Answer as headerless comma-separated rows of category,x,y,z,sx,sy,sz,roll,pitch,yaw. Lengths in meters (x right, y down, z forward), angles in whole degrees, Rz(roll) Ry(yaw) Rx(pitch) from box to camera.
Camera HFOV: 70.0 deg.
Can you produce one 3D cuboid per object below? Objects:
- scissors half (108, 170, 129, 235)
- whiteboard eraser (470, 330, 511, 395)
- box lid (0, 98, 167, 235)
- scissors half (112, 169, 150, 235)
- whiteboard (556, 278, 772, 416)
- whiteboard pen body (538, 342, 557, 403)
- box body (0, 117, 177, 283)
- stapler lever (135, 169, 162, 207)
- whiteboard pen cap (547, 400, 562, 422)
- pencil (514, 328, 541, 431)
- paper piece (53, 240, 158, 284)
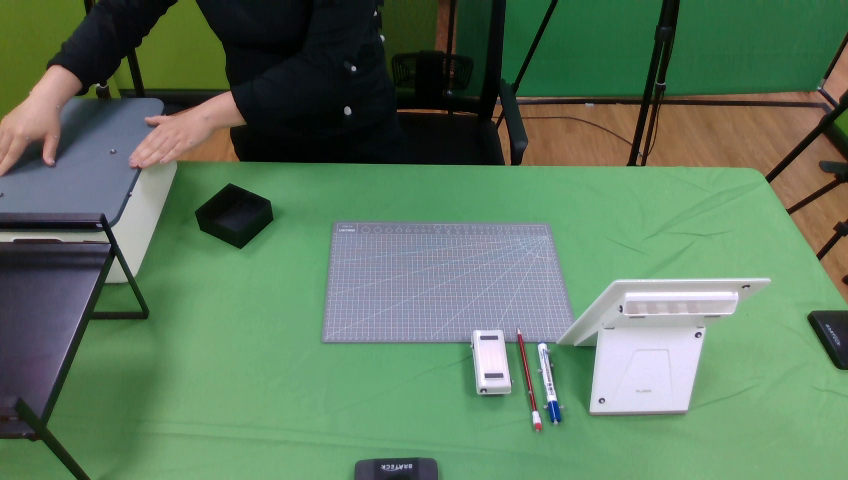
scissors half,-0.617,-0.077,1.223,0.040,0.013,0.174,-14,54,-8
whiteboard eraser,0.109,0.202,0.998,0.055,0.042,0.112,1,46,-5
box lid,-0.636,-0.145,1.087,0.263,0.015,0.369,0,46,-4
scissors half,-0.596,-0.078,1.225,0.040,0.013,0.174,7,53,1
whiteboard,0.347,0.174,0.903,0.217,0.306,0.143,1,65,-4
whiteboard pen body,0.205,0.228,0.997,0.017,0.017,0.140,1,47,-3
box body,-0.640,-0.095,1.140,0.254,0.161,0.361,0,46,-4
stapler lever,-0.555,-0.112,1.221,0.027,0.040,0.117,6,41,-13
whiteboard pen cap,0.205,0.269,0.956,0.018,0.018,0.033,0,48,-5
pencil,0.169,0.224,1.003,0.012,0.012,0.192,-2,46,-6
paper piece,-0.593,0.037,1.135,0.136,0.009,0.137,3,33,8
